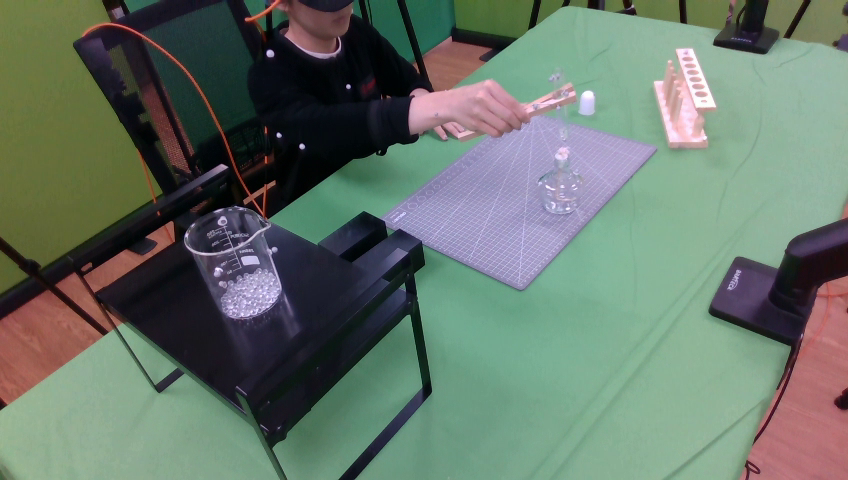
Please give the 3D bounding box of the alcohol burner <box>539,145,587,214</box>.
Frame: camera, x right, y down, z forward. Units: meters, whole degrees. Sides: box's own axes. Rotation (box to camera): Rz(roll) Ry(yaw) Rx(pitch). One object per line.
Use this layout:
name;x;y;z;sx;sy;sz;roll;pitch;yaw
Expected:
alcohol burner;0.226;-0.102;0.985;0.078;0.119;0.077;-6;41;6

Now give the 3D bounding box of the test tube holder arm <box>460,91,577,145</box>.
test tube holder arm;0.135;-0.177;0.880;0.178;0.015;0.013;-20;53;18

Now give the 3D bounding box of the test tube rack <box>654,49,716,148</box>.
test tube rack;0.502;-0.281;1.176;0.066;0.085;0.241;1;41;11

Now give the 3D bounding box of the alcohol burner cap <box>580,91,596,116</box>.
alcohol burner cap;0.338;-0.283;1.238;0.034;0.048;0.033;-4;42;4

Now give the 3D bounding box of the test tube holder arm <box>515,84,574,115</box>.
test tube holder arm;0.174;-0.197;0.870;0.087;0.015;0.010;-26;52;14

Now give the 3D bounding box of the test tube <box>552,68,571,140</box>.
test tube;0.201;-0.194;0.879;0.017;0.151;0.017;-7;61;14

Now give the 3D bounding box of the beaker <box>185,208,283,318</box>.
beaker;-0.192;0.026;0.637;0.084;0.101;0.073;-13;41;-7
